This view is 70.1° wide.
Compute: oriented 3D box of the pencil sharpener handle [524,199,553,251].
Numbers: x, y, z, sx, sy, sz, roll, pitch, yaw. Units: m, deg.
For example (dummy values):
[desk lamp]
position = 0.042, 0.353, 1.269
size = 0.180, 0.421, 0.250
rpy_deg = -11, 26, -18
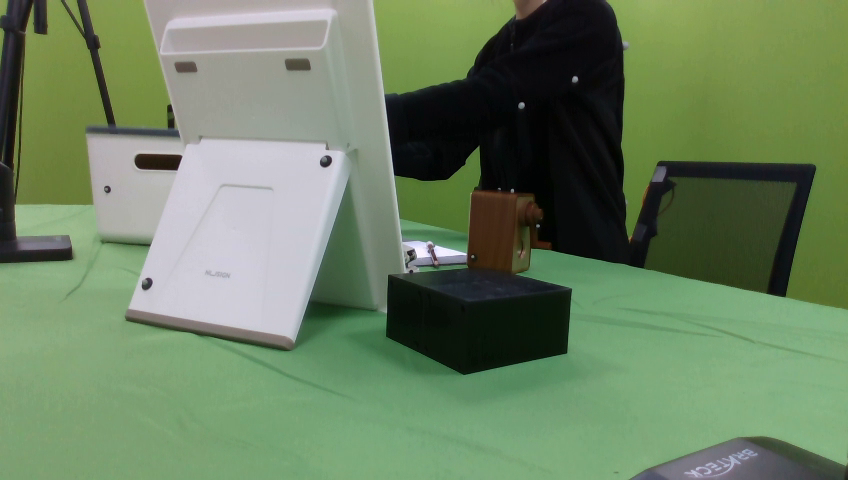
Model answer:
[pencil sharpener handle]
position = 0.151, -0.019, 0.782
size = 0.030, 0.068, 0.036
rpy_deg = 8, 23, 33

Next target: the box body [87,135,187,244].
[box body]
position = -0.337, -0.088, 1.023
size = 0.254, 0.160, 0.364
rpy_deg = 3, 7, 9

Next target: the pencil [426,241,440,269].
[pencil]
position = 0.013, 0.021, 0.885
size = 0.012, 0.012, 0.194
rpy_deg = 2, 9, -3

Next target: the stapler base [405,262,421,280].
[stapler base]
position = -0.069, 0.026, 0.759
size = 0.130, 0.024, 0.041
rpy_deg = 9, 14, 23

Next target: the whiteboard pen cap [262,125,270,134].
[whiteboard pen cap]
position = -0.349, -0.244, 1.337
size = 0.018, 0.018, 0.033
rpy_deg = 0, 2, -17

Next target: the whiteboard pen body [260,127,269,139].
[whiteboard pen body]
position = -0.366, -0.247, 1.392
size = 0.017, 0.017, 0.140
rpy_deg = 0, 3, -17

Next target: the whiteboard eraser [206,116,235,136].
[whiteboard eraser]
position = -0.450, -0.252, 1.335
size = 0.056, 0.042, 0.112
rpy_deg = 1, 7, -22

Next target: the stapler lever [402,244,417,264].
[stapler lever]
position = -0.066, 0.002, 0.754
size = 0.117, 0.040, 0.027
rpy_deg = 9, 13, 23

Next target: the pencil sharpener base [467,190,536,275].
[pencil sharpener base]
position = 0.106, -0.012, 0.808
size = 0.076, 0.107, 0.061
rpy_deg = 8, 8, 33

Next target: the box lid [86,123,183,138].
[box lid]
position = -0.334, -0.170, 1.012
size = 0.263, 0.015, 0.372
rpy_deg = 6, 8, 9

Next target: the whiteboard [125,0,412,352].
[whiteboard]
position = -0.151, -0.049, 0.472
size = 0.216, 0.305, 0.144
rpy_deg = 6, 27, 24
